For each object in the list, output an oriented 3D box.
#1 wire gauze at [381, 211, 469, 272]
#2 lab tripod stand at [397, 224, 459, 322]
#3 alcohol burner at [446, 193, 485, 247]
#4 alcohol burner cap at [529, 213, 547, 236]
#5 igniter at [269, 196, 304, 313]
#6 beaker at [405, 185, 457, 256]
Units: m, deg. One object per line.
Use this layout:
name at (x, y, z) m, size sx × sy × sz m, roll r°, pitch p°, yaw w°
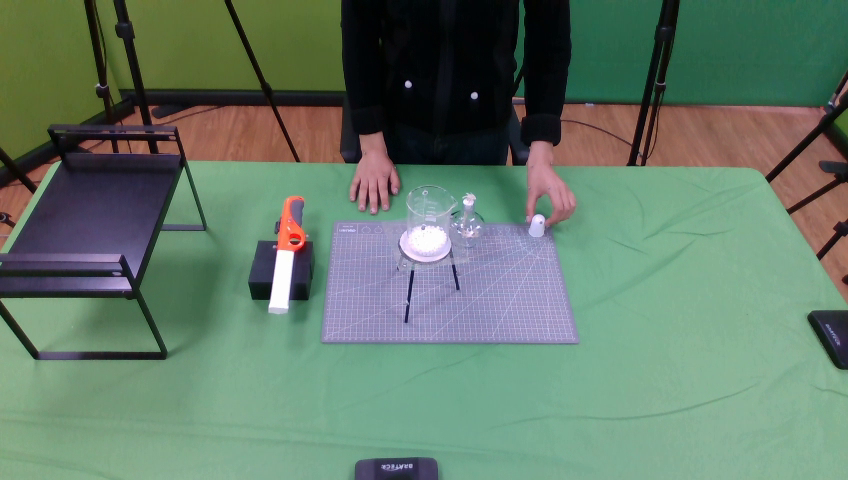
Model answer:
wire gauze at (0.000, 0.001, 1.024) m, size 0.125 × 0.011 × 0.120 m, roll -11°, pitch 48°, yaw -12°
lab tripod stand at (-0.003, 0.052, 1.067) m, size 0.148 × 0.132 × 0.147 m, roll 3°, pitch 48°, yaw -3°
alcohol burner at (0.082, -0.044, 1.180) m, size 0.078 × 0.120 × 0.077 m, roll 2°, pitch 44°, yaw -2°
alcohol burner cap at (0.234, -0.035, 1.230) m, size 0.034 × 0.048 × 0.033 m, roll 3°, pitch 53°, yaw -3°
igniter at (-0.249, 0.016, 1.095) m, size 0.057 × 0.025 × 0.274 m, roll 8°, pitch 46°, yaw -13°
beaker at (0.009, -0.029, 0.987) m, size 0.084 × 0.101 × 0.073 m, roll -1°, pitch 47°, yaw -5°
